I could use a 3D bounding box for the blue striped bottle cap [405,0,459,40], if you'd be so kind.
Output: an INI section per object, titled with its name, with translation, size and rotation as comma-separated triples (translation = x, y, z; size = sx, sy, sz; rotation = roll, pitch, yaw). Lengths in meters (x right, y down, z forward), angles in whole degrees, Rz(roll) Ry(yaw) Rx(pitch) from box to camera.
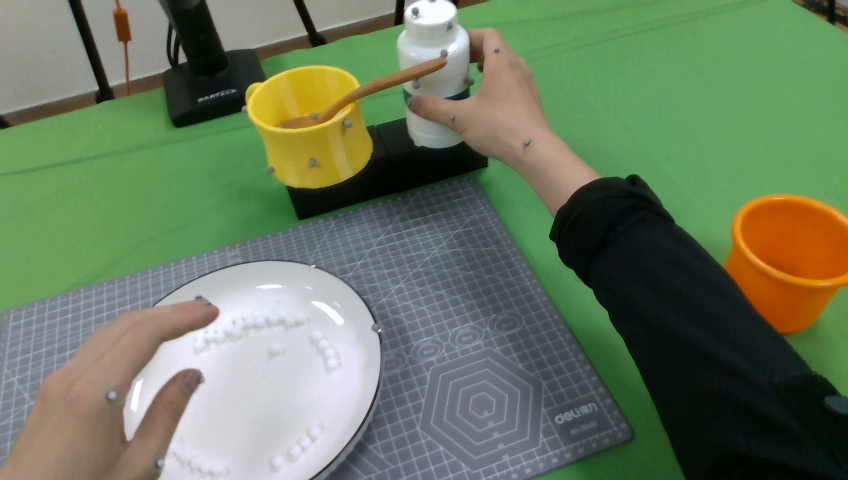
[blue striped bottle cap]
translation = 0.007, -0.187, 0.503
size = 0.044, 0.021, 0.044
rotation = -6, 48, 7

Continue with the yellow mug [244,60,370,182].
[yellow mug]
translation = -0.117, -0.115, 0.559
size = 0.130, 0.064, 0.099
rotation = 21, 54, 24

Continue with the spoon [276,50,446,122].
[spoon]
translation = -0.063, -0.124, 0.517
size = 0.193, 0.022, 0.041
rotation = -17, 35, 37

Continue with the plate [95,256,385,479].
[plate]
translation = -0.130, 0.102, 0.452
size = 0.207, 0.039, 0.205
rotation = -2, 49, 3

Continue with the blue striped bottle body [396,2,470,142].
[blue striped bottle body]
translation = 0.009, -0.153, 0.542
size = 0.063, 0.122, 0.062
rotation = -3, 48, 4
